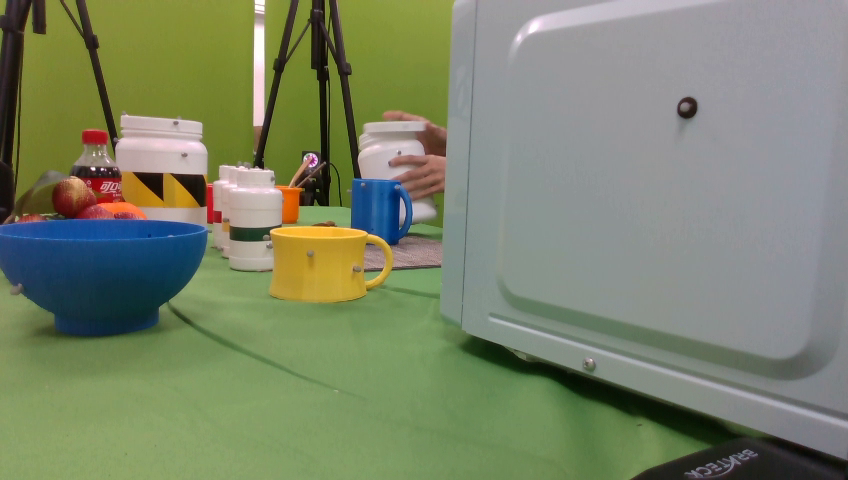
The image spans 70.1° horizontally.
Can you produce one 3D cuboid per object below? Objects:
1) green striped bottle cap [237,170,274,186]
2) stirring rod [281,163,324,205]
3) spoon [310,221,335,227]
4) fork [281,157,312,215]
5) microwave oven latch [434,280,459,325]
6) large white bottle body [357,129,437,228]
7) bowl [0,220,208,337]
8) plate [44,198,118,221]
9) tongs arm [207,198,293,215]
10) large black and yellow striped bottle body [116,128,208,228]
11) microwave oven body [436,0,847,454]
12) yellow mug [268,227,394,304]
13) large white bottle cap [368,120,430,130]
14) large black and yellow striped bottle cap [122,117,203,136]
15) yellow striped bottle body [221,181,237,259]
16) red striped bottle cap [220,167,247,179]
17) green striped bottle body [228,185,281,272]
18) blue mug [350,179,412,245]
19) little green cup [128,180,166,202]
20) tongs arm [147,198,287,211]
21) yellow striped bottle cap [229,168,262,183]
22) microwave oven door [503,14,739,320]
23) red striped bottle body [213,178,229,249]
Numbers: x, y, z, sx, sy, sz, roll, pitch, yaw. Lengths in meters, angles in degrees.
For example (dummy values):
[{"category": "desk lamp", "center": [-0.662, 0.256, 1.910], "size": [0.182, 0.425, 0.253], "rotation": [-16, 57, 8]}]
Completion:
[{"category": "green striped bottle cap", "center": [-0.205, -0.075, 0.737], "size": [0.044, 0.020, 0.044], "rotation": [1, 7, 0]}, {"category": "stirring rod", "center": [-0.278, -0.105, 1.293], "size": [0.176, 0.006, 0.014], "rotation": [-47, 25, -19]}, {"category": "spoon", "center": [-0.185, -0.027, 1.131], "size": [0.041, 0.021, 0.193], "rotation": [-19, 6, 2]}, {"category": "fork", "center": [-0.289, -0.116, 1.321], "size": [0.028, 0.019, 0.207], "rotation": [6, 51, 19]}, {"category": "microwave oven latch", "center": [0.044, 0.045, 0.470], "size": [0.079, 0.029, 0.030], "rotation": [-2, 8, -39]}, {"category": "large white bottle body", "center": [-0.054, -0.119, 1.156], "size": [0.131, 0.184, 0.130], "rotation": [-12, -2, 0]}, {"category": "bowl", "center": [-0.251, 0.029, 0.479], "size": [0.151, 0.077, 0.151], "rotation": [2, 7, 0]}, {"category": "plate", "center": [-0.617, -0.056, 1.179], "size": [0.209, 0.038, 0.209], "rotation": [3, 7, 0]}, {"category": "tongs arm", "center": [-0.423, -0.084, 1.472], "size": [0.050, 0.026, 0.386], "rotation": [2, 6, 21]}, {"category": "large black and yellow striped bottle body", "center": [-0.404, -0.089, 0.937], "size": [0.131, 0.184, 0.130], "rotation": [3, 7, 0]}, {"category": "microwave oven body", "center": [0.279, -0.040, 0.464], "size": [0.444, 0.260, 0.324], "rotation": [-3, 9, -41]}, {"category": "yellow mug", "center": [-0.094, 0.023, 0.630], "size": [0.131, 0.064, 0.099], "rotation": [0, 8, -22]}, {"category": "large white bottle cap", "center": [-0.047, -0.213, 1.126], "size": [0.115, 0.018, 0.115], "rotation": [-1, 11, 0]}, {"category": "large black and yellow striped bottle cap", "center": [-0.399, -0.174, 0.927], "size": [0.115, 0.019, 0.115], "rotation": [5, 9, -1]}, {"category": "yellow striped bottle body", "center": [-0.244, -0.035, 0.823], "size": [0.063, 0.120, 0.063], "rotation": [2, 8, 0]}, {"category": "red striped bottle cap", "center": [-0.281, -0.100, 0.901], "size": [0.044, 0.017, 0.044], "rotation": [-1, 4, 0]}, {"category": "green striped bottle body", "center": [-0.208, -0.023, 0.745], "size": [0.063, 0.119, 0.063], "rotation": [2, 7, 0]}, {"category": "blue mug", "center": [-0.068, -0.046, 1.000], "size": [0.116, 0.106, 0.083], "rotation": [7, 9, 32]}, {"category": "little green cup", "center": [-0.485, -0.087, 1.062], "size": [0.061, 0.038, 0.061], "rotation": [-1, 6, 0]}, {"category": "tongs arm", "center": [-0.504, -0.091, 1.513], "size": [0.028, 0.028, 0.389], "rotation": [-1, 4, 37]}, {"category": "yellow striped bottle cap", "center": [-0.240, -0.087, 0.816], "size": [0.044, 0.018, 0.044], "rotation": [-3, 5, 1]}, {"category": "microwave oven door", "center": [0.218, -0.065, 0.600], "size": [0.358, 0.243, 0.039], "rotation": [-4, 10, -41]}, {"category": "red striped bottle body", "center": [-0.284, -0.048, 0.909], "size": [0.063, 0.119, 0.063], "rotation": [3, 10, 0]}]
